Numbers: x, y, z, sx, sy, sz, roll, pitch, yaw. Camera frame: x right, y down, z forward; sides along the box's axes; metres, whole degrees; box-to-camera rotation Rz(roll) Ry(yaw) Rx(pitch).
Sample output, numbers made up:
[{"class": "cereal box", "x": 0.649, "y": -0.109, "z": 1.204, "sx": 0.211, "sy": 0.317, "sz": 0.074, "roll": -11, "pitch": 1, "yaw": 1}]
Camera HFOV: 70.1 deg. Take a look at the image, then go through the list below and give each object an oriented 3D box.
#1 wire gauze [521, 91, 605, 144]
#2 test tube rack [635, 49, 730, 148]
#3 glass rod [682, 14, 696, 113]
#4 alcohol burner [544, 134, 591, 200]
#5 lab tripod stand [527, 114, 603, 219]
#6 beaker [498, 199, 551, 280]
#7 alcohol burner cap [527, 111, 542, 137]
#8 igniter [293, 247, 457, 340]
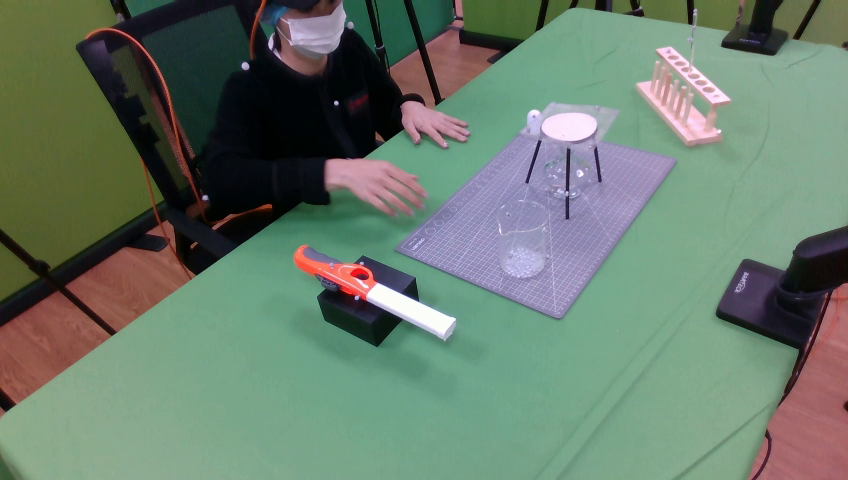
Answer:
[{"class": "wire gauze", "x": 0.219, "y": -0.191, "z": 0.948, "sx": 0.121, "sy": 0.011, "sz": 0.125, "roll": 8, "pitch": 49, "yaw": 13}, {"class": "test tube rack", "x": 0.497, "y": -0.283, "z": 1.185, "sx": 0.067, "sy": 0.085, "sz": 0.240, "roll": -10, "pitch": 40, "yaw": -2}, {"class": "glass rod", "x": 0.495, "y": -0.326, "z": 1.132, "sx": 0.008, "sy": 0.201, "sz": 0.008, "roll": -8, "pitch": 42, "yaw": 8}, {"class": "alcohol burner", "x": 0.241, "y": -0.127, "z": 1.014, "sx": 0.078, "sy": 0.119, "sz": 0.077, "roll": -5, "pitch": 42, "yaw": 5}, {"class": "lab tripod stand", "x": 0.234, "y": -0.129, "z": 1.002, "sx": 0.148, "sy": 0.132, "sz": 0.147, "roll": -6, "pitch": 40, "yaw": 6}, {"class": "beaker", "x": 0.144, "y": 0.003, "z": 0.884, "sx": 0.073, "sy": 0.101, "sz": 0.084, "roll": 28, "pitch": 52, "yaw": 36}, {"class": "alcohol burner cap", "x": 0.220, "y": -0.233, "z": 1.200, "sx": 0.034, "sy": 0.048, "sz": 0.033, "roll": -6, "pitch": 41, "yaw": 5}, {"class": "igniter", "x": -0.077, "y": 0.068, "z": 0.830, "sx": 0.274, "sy": 0.025, "sz": 0.057, "roll": 22, "pitch": 48, "yaw": 27}]
